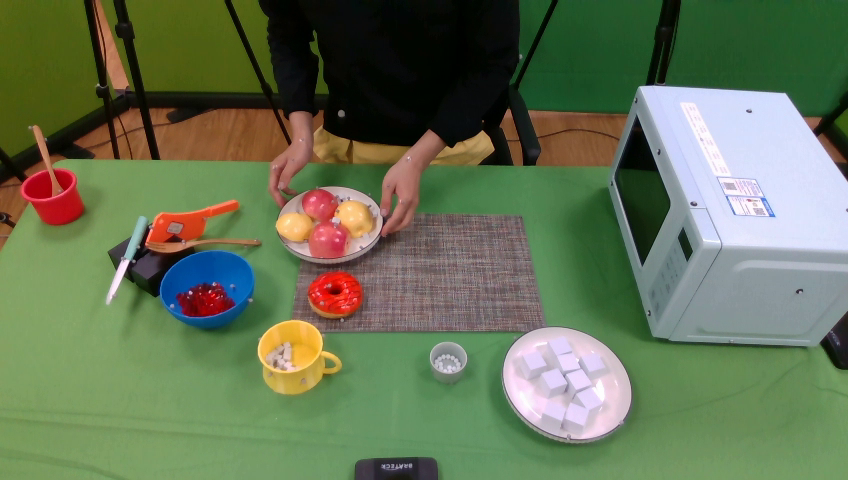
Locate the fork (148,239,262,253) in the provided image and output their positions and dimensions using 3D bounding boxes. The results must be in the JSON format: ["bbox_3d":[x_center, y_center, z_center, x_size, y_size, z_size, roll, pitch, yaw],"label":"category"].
[{"bbox_3d":[-0.398,0.008,1.117,0.208,0.019,0.028,-5,34,-37],"label":"fork"}]

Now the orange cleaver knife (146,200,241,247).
[{"bbox_3d":[-0.435,-0.033,1.157,0.012,0.077,0.211,31,26,19],"label":"orange cleaver knife"}]

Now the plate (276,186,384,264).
[{"bbox_3d":[-0.184,-0.026,1.195,0.209,0.038,0.208,2,45,-2],"label":"plate"}]

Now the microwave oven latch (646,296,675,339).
[{"bbox_3d":[0.412,0.134,1.061,0.030,0.029,0.078,4,45,1],"label":"microwave oven latch"}]

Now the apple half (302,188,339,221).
[{"bbox_3d":[-0.205,-0.076,1.217,0.081,0.033,0.081,18,47,-20],"label":"apple half"}]

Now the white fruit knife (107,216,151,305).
[{"bbox_3d":[-0.518,0.032,1.066,0.027,0.016,0.206,-19,45,19],"label":"white fruit knife"}]

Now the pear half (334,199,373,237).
[{"bbox_3d":[-0.147,-0.060,1.210,0.076,0.056,0.109,-17,44,-25],"label":"pear half"}]

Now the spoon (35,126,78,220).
[{"bbox_3d":[-0.725,-0.132,1.188,0.041,0.021,0.194,-18,95,-19],"label":"spoon"}]

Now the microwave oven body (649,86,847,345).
[{"bbox_3d":[0.568,-0.053,1.118,0.326,0.261,0.439,2,45,-1],"label":"microwave oven body"}]

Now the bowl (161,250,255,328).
[{"bbox_3d":[-0.362,0.097,1.040,0.151,0.077,0.150,2,45,-2],"label":"bowl"}]

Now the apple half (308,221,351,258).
[{"bbox_3d":[-0.180,-0.005,1.150,0.074,0.053,0.080,14,43,8],"label":"apple half"}]

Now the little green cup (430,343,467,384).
[{"bbox_3d":[0.039,0.203,0.993,0.061,0.039,0.061,2,46,-2],"label":"little green cup"}]

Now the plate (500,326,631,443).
[{"bbox_3d":[0.224,0.233,0.978,0.208,0.039,0.206,2,46,-2],"label":"plate"}]

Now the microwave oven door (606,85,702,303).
[{"bbox_3d":[0.423,-0.094,1.140,0.039,0.245,0.353,2,46,-1],"label":"microwave oven door"}]

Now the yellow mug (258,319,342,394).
[{"bbox_3d":[-0.196,0.189,0.972,0.131,0.064,0.099,9,46,4],"label":"yellow mug"}]

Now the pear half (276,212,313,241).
[{"bbox_3d":[-0.244,-0.035,1.178,0.070,0.031,0.088,40,42,1],"label":"pear half"}]

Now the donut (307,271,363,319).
[{"bbox_3d":[-0.157,0.097,1.072,0.099,0.048,0.098,4,45,-4],"label":"donut"}]
